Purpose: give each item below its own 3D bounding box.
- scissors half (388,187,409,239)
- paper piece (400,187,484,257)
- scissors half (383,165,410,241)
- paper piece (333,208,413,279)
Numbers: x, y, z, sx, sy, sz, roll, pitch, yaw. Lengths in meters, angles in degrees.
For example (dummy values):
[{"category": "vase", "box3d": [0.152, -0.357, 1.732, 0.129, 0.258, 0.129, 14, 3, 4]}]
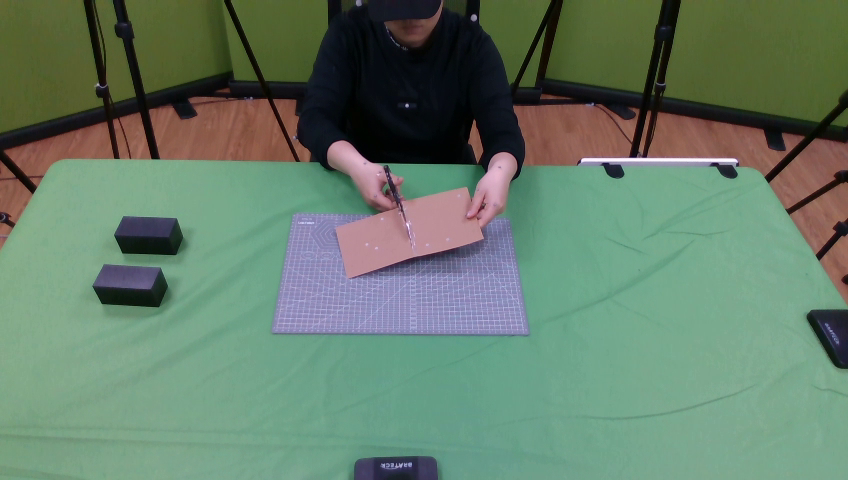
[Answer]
[{"category": "scissors half", "box3d": [-0.051, -0.063, 1.212, 0.013, 0.040, 0.174, -17, 48, -3]}, {"category": "paper piece", "box3d": [0.033, -0.037, 1.168, 0.138, 0.009, 0.135, -12, 61, -3]}, {"category": "scissors half", "box3d": [-0.054, -0.074, 1.194, 0.013, 0.040, 0.174, -20, 70, 1]}, {"category": "paper piece", "box3d": [-0.100, 0.003, 1.167, 0.135, 0.004, 0.135, -18, 51, -2]}]
